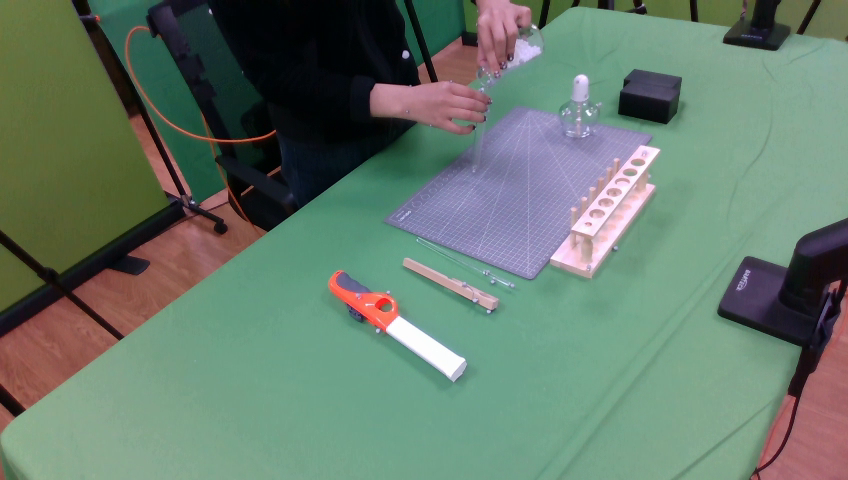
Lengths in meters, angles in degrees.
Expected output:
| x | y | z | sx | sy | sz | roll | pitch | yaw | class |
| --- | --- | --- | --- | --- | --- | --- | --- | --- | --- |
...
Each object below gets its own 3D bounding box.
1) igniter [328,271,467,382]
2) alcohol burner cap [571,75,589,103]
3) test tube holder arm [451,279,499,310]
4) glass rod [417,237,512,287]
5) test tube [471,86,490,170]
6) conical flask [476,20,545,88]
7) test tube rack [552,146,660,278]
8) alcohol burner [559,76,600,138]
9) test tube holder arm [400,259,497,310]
| x | y | z | sx | sy | sz | roll | pitch | yaw | class |
| --- | --- | --- | --- | --- | --- | --- | --- | --- | --- |
| -0.049 | 0.114 | 0.854 | 0.274 | 0.025 | 0.057 | 29 | 63 | 37 | igniter |
| 0.294 | -0.284 | 1.132 | 0.034 | 0.048 | 0.033 | -4 | 46 | 5 | alcohol burner cap |
| 0.071 | 0.079 | 0.882 | 0.087 | 0.015 | 0.010 | 24 | 13 | 34 | test tube holder arm |
| 0.058 | 0.032 | 0.944 | 0.198 | 0.008 | 0.008 | 26 | 52 | 38 | glass rod |
| 0.098 | -0.194 | 1.058 | 0.017 | 0.150 | 0.017 | 4 | 29 | -2 | test tube |
| 0.142 | -0.310 | 1.028 | 0.122 | 0.076 | 0.074 | -45 | 50 | -15 | conical flask |
| 0.286 | -0.053 | 0.943 | 0.066 | 0.085 | 0.243 | 21 | 49 | 32 | test tube rack |
| 0.298 | -0.258 | 1.156 | 0.078 | 0.119 | 0.077 | -4 | 39 | 4 | alcohol burner |
| 0.033 | 0.064 | 0.902 | 0.177 | 0.015 | 0.013 | 23 | 13 | 32 | test tube holder arm |
